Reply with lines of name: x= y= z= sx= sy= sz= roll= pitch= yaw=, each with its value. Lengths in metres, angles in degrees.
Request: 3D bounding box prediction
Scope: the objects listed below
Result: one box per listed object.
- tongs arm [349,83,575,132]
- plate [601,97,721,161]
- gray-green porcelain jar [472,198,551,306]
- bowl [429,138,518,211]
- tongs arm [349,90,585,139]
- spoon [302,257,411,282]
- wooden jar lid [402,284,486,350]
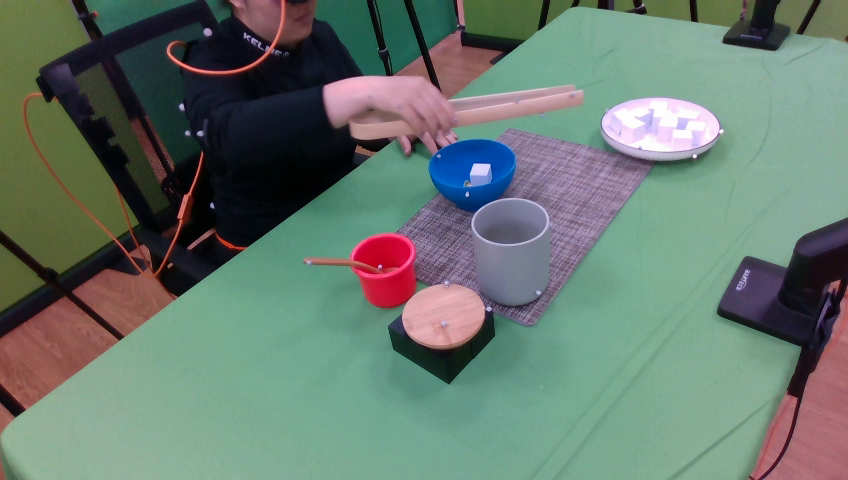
tongs arm: x=0.069 y=-0.221 z=0.999 sx=0.389 sy=0.028 sz=0.028 roll=-10 pitch=39 yaw=-8
plate: x=0.437 y=-0.203 z=1.126 sx=0.209 sy=0.038 sz=0.208 roll=-5 pitch=39 yaw=5
gray-green porcelain jar: x=0.125 y=0.021 z=0.850 sx=0.106 sy=0.127 sz=0.105 roll=-6 pitch=40 yaw=5
bowl: x=0.087 y=-0.104 z=1.043 sx=0.151 sy=0.077 sz=0.150 roll=-5 pitch=40 yaw=5
tongs arm: x=0.073 y=-0.207 z=0.978 sx=0.386 sy=0.026 sz=0.050 roll=-12 pitch=36 yaw=-11
spoon: x=-0.092 y=0.038 z=0.865 sx=0.195 sy=0.021 sz=0.041 roll=16 pitch=15 yaw=-46
wooden jar lid: x=0.026 y=0.101 z=0.786 sx=0.108 sy=0.021 sz=0.108 roll=-5 pitch=39 yaw=4
